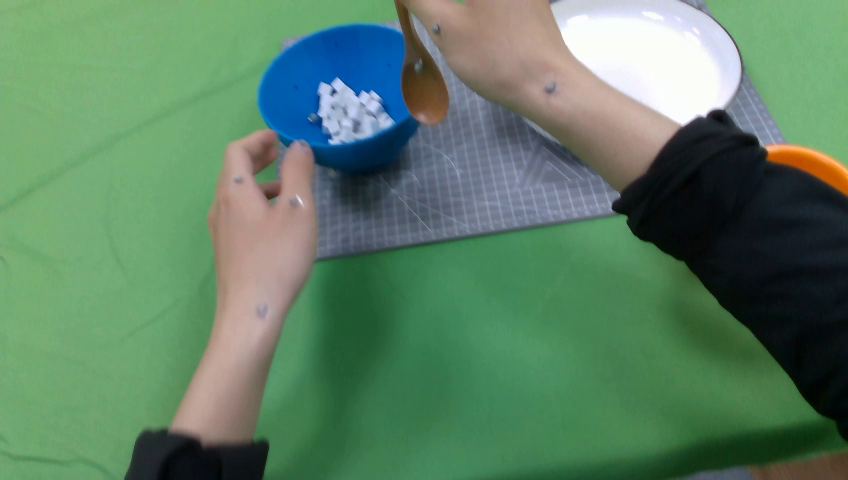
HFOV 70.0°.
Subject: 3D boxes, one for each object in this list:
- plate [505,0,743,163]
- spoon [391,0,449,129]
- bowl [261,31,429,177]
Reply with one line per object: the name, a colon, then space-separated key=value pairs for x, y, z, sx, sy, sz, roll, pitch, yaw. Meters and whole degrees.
plate: x=0.179 y=-0.148 z=0.563 sx=0.209 sy=0.038 sz=0.207 roll=-4 pitch=56 yaw=6
spoon: x=-0.010 y=-0.142 z=0.390 sx=0.041 sy=0.195 sz=0.021 roll=21 pitch=67 yaw=20
bowl: x=-0.061 y=-0.110 z=0.549 sx=0.151 sy=0.077 sz=0.150 roll=-4 pitch=55 yaw=7
